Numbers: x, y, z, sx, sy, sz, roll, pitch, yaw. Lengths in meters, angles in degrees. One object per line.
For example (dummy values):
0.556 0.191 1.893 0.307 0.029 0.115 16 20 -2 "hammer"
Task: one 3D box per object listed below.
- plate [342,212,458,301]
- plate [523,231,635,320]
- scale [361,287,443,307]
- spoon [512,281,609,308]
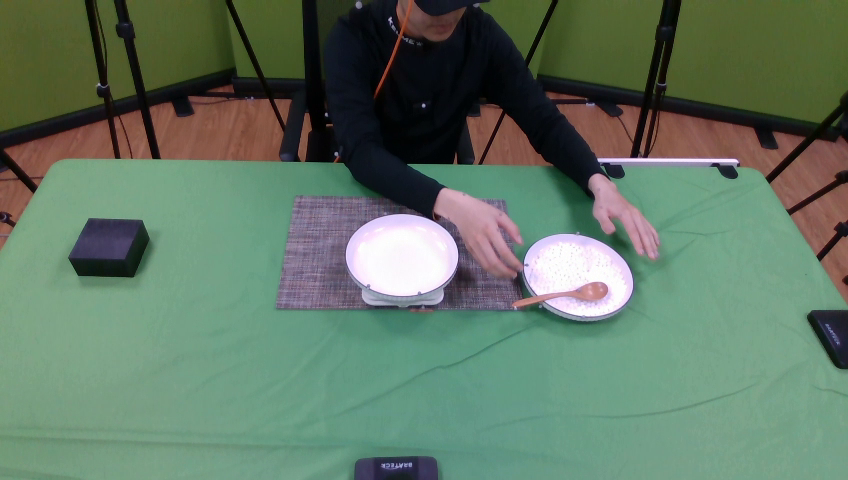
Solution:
-0.043 0.033 1.105 0.208 0.039 0.206 2 46 -2 "plate"
0.287 0.069 1.141 0.209 0.038 0.208 2 46 -2 "plate"
-0.042 0.040 1.142 0.149 0.032 0.199 0 46 -4 "scale"
0.245 0.098 1.087 0.194 0.022 0.041 -6 45 -19 "spoon"
